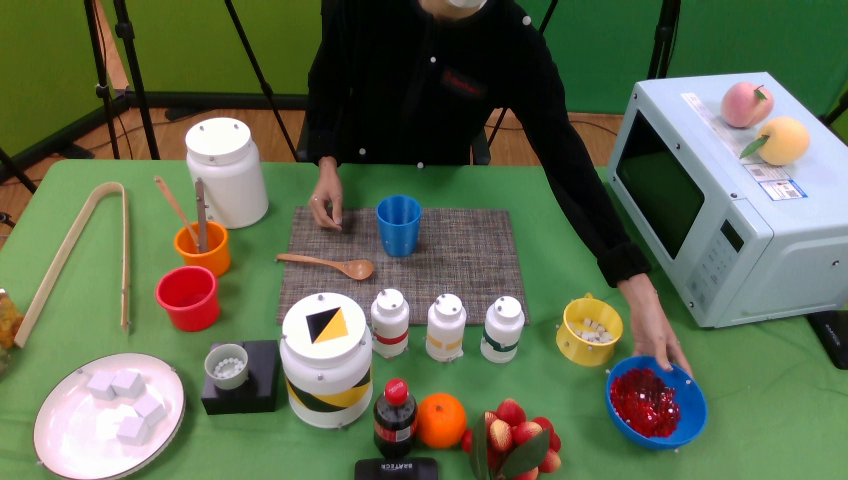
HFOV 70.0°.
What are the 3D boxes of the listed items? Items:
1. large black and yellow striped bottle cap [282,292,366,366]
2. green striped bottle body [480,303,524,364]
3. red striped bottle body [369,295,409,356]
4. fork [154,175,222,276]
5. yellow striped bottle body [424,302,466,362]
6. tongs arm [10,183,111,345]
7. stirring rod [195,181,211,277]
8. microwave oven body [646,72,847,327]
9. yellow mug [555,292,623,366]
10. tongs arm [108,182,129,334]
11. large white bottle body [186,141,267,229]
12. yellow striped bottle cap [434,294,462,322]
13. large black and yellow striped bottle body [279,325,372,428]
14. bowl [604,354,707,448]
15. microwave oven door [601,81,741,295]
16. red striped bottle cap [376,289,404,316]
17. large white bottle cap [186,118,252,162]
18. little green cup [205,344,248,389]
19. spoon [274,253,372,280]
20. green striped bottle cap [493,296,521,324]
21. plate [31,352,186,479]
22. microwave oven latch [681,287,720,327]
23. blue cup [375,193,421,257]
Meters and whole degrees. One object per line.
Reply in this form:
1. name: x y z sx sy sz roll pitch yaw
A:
1. large black and yellow striped bottle cap: -0.138 0.121 0.841 0.115 0.019 0.114 3 47 -3
2. green striped bottle body: 0.129 0.147 1.000 0.063 0.120 0.063 2 46 -2
3. red striped bottle body: -0.059 0.134 0.997 0.063 0.120 0.062 5 48 -5
4. fork: -0.431 -0.027 1.101 0.028 0.018 0.207 -33 100 -25
5. yellow striped bottle body: 0.035 0.143 0.995 0.063 0.121 0.062 3 46 -3
6. tongs arm: -0.658 0.027 1.109 0.028 0.028 0.385 -2 45 2
7. stirring rod: -0.403 -0.020 1.104 0.014 0.006 0.176 -6 90 -9
8. microwave oven body: 0.607 -0.089 1.164 0.326 0.261 0.438 -7 46 -10
9. yellow mug: 0.284 0.145 1.052 0.100 0.064 0.130 9 46 1
10. tongs arm: -0.571 0.019 1.123 0.051 0.026 0.382 -10 47 -12
11. large white bottle body: -0.383 -0.127 1.176 0.131 0.185 0.130 2 47 -2
12. yellow striped bottle cap: 0.038 0.107 0.958 0.044 0.019 0.044 2 45 -2
13. large black and yellow striped bottle body: -0.143 0.181 0.900 0.131 0.185 0.130 2 46 -2
14. bowl: 0.346 0.261 0.936 0.151 0.077 0.150 2 46 -2
15. microwave oven door: 0.454 -0.107 1.162 0.039 0.245 0.353 -6 47 -11
16. red striped bottle cap: -0.055 0.098 0.958 0.044 0.018 0.044 0 48 0
17. large white bottle cap: -0.377 -0.185 1.115 0.115 0.018 0.114 2 47 -2
18. little green cup: -0.294 0.191 0.909 0.061 0.039 0.061 1 47 -1
19. spoon: -0.191 0.043 1.136 0.193 0.022 0.041 10 69 6
20. green striped bottle cap: 0.133 0.111 0.962 0.044 0.020 0.044 2 47 -2
21. plate: -0.459 0.262 0.898 0.209 0.038 0.208 2 46 -2
22. microwave oven latch: 0.494 0.119 1.087 0.030 0.029 0.078 -5 46 -9
23. blue cup: -0.050 -0.022 1.155 0.093 0.101 0.092 1 47 -1
